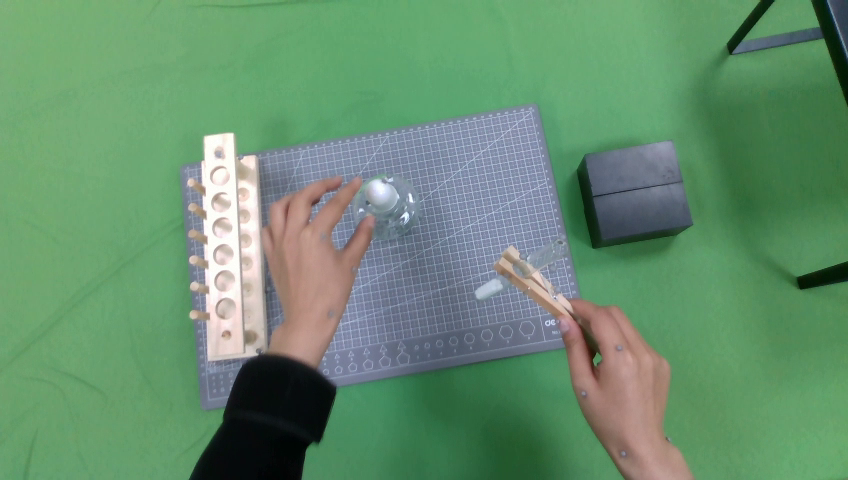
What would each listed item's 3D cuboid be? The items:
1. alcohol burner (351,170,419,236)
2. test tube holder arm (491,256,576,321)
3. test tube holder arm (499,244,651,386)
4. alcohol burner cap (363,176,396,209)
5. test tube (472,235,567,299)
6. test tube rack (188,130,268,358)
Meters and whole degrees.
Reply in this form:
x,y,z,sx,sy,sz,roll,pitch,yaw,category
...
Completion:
x,y,z,sx,sy,sz,roll,pitch,yaw,category
-0.046,-0.045,0.674,0.078,0.119,0.077,0,80,3,alcohol burner
0.097,0.043,0.530,0.088,0.015,0.010,35,70,-7,test tube holder arm
0.135,0.068,0.536,0.178,0.015,0.013,42,70,-4,test tube holder arm
-0.049,-0.052,0.639,0.034,0.048,0.034,0,83,4,alcohol burner cap
0.079,0.028,0.535,0.017,0.150,0.017,8,68,-20,test tube
-0.228,0.008,0.686,0.067,0.085,0.241,-7,79,1,test tube rack
